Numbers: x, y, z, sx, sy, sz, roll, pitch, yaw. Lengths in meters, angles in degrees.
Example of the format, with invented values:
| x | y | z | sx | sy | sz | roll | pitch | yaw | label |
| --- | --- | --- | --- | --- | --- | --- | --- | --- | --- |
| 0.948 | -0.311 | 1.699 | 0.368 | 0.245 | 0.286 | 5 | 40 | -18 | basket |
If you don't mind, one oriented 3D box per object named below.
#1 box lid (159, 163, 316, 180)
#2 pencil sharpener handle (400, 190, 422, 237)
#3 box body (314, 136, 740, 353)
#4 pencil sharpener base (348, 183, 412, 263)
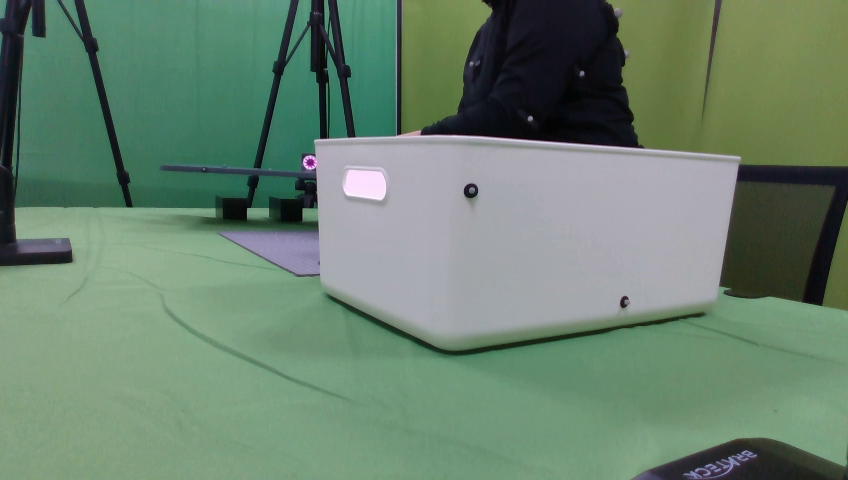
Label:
| x | y | z | sx | sy | sz | roll | pitch | yaw | label |
| --- | --- | --- | --- | --- | --- | --- | --- | --- | --- |
| -0.331 | -0.139 | 1.267 | 0.372 | 0.015 | 0.263 | 3 | 6 | -7 | box lid |
| -0.015 | -0.037 | 0.872 | 0.031 | 0.067 | 0.036 | -1 | 15 | -30 | pencil sharpener handle |
| 0.098 | -0.012 | 0.605 | 0.366 | 0.160 | 0.253 | -2 | 8 | -33 | box body |
| -0.059 | -0.024 | 0.845 | 0.077 | 0.107 | 0.061 | -1 | 7 | -30 | pencil sharpener base |
